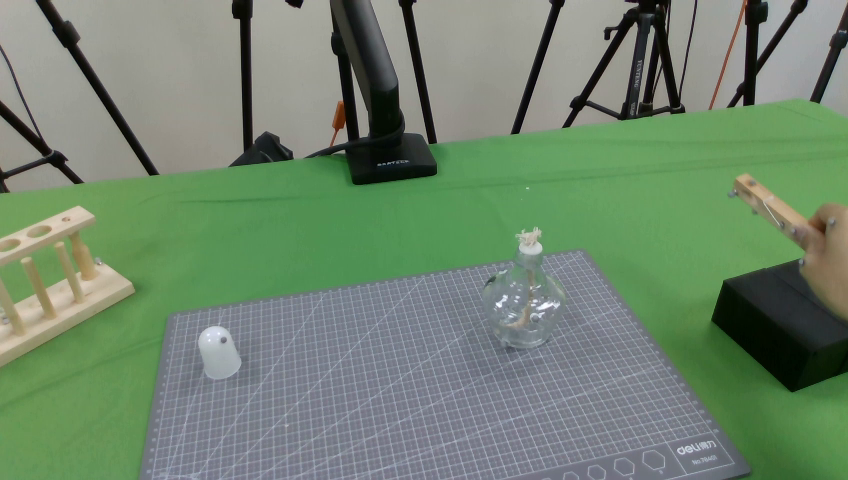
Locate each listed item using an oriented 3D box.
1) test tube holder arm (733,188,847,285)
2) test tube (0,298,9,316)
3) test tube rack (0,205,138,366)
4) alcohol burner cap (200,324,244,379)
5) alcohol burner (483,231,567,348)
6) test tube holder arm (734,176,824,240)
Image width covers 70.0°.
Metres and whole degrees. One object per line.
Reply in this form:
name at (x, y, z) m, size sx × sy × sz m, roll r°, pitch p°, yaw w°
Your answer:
test tube holder arm at (0.319, 0.006, 0.491) m, size 0.015 × 0.013 × 0.176 m, roll -23°, pitch 46°, yaw -6°
test tube at (-0.411, 0.008, 0.554) m, size 0.017 × 0.151 × 0.017 m, roll 0°, pitch 31°, yaw 1°
test tube rack at (-0.407, 0.063, 0.562) m, size 0.066 × 0.086 × 0.242 m, roll 24°, pitch 42°, yaw 32°
alcohol burner cap at (-0.182, 0.096, 0.540) m, size 0.034 × 0.048 × 0.033 m, roll -1°, pitch 36°, yaw 1°
alcohol burner at (0.092, 0.040, 0.548) m, size 0.078 × 0.120 × 0.077 m, roll 0°, pitch 37°, yaw 0°
test tube holder arm at (0.302, -0.026, 0.518) m, size 0.015 × 0.010 × 0.087 m, roll -23°, pitch 46°, yaw -6°
